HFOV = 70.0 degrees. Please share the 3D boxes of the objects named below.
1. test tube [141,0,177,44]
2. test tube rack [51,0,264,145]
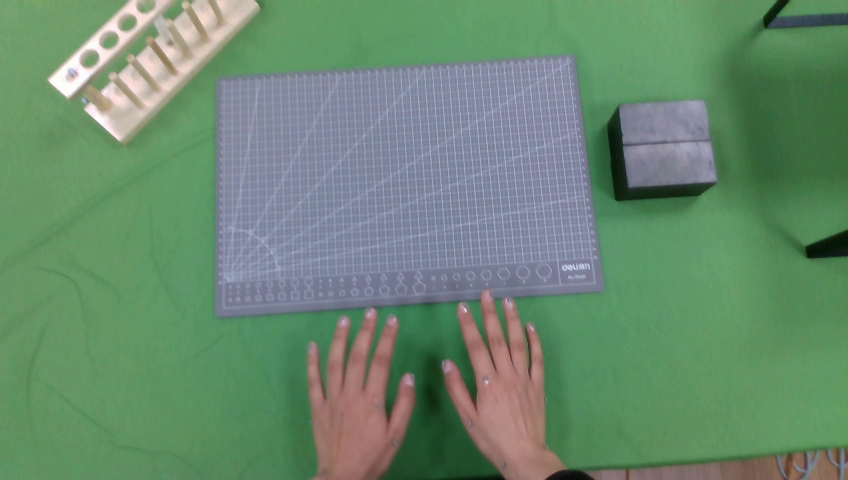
[{"bbox_3d":[-0.312,-0.273,0.686,0.017,0.151,0.017,1,72,-2],"label":"test tube"},{"bbox_3d":[-0.312,-0.236,0.729,0.066,0.085,0.242,40,81,10],"label":"test tube rack"}]
